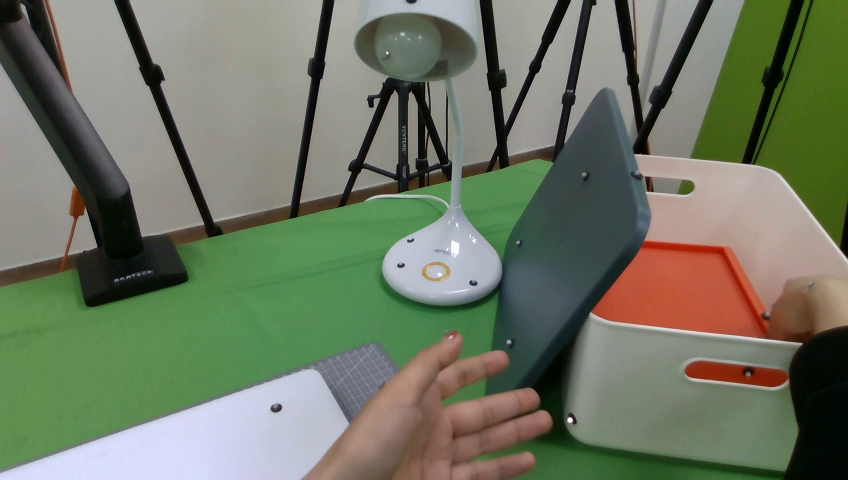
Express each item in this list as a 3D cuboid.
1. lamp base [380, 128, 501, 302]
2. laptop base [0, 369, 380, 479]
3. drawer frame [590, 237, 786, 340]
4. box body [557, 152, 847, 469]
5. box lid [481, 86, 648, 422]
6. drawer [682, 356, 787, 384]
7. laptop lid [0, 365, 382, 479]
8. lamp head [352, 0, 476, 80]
[{"bbox_3d":[0.025,-0.041,0.772,0.160,0.181,0.178,6,29,7],"label":"lamp base"},{"bbox_3d":[-0.208,0.231,0.463,0.355,0.023,0.233,-15,39,-27],"label":"laptop base"},{"bbox_3d":[0.256,0.082,0.665,0.201,0.083,0.212,4,30,5],"label":"drawer frame"},{"bbox_3d":[0.275,0.050,0.656,0.254,0.161,0.361,6,31,7],"label":"box body"},{"bbox_3d":[0.141,-0.004,0.656,0.015,0.264,0.369,26,32,-4],"label":"box lid"},{"bbox_3d":[0.256,0.087,0.664,0.194,0.074,0.210,4,29,5],"label":"drawer"},{"bbox_3d":[-0.206,0.223,0.455,0.358,0.013,0.239,-14,37,-25],"label":"laptop lid"},{"bbox_3d":[-0.005,-0.223,0.555,0.112,0.113,0.122,3,71,3],"label":"lamp head"}]
